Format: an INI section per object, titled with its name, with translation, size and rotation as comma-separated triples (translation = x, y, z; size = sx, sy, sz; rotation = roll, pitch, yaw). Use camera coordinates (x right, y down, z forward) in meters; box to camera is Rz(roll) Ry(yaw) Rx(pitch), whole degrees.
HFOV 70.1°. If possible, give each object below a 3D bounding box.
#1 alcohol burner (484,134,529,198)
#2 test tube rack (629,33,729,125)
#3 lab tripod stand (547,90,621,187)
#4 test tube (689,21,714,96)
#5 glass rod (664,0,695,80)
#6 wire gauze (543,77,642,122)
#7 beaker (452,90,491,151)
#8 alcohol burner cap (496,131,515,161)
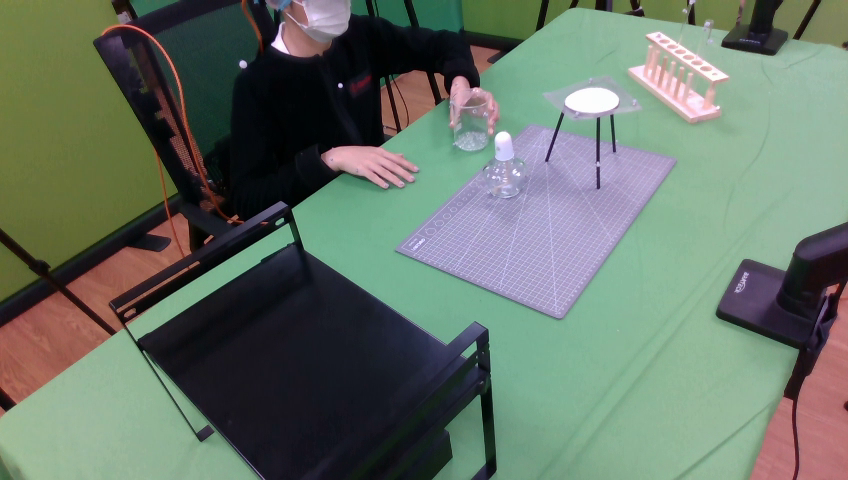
[alcohol burner]
translation = 0.141, -0.133, 1.041
size = 0.078, 0.119, 0.077
rotation = -5, 43, 5
[test tube rack]
translation = 0.516, -0.337, 1.247
size = 0.067, 0.085, 0.240
rotation = -14, 41, -7
[lab tripod stand]
translation = 0.289, -0.184, 1.062
size = 0.148, 0.132, 0.147
rotation = -6, 41, 6
[test tube]
translation = 0.542, -0.353, 1.184
size = 0.017, 0.151, 0.017
rotation = -2, 40, 2
[glass rod]
translation = 0.523, -0.415, 1.235
size = 0.008, 0.200, 0.008
rotation = 1, 46, 0
[wire gauze]
translation = 0.282, -0.236, 1.020
size = 0.125, 0.011, 0.120
rotation = -15, 40, -6
[beaker]
translation = 0.095, -0.232, 1.175
size = 0.073, 0.100, 0.084
rotation = 16, 45, 23
[alcohol burner cap]
translation = 0.135, -0.160, 1.019
size = 0.034, 0.048, 0.033
rotation = -8, 37, 7
